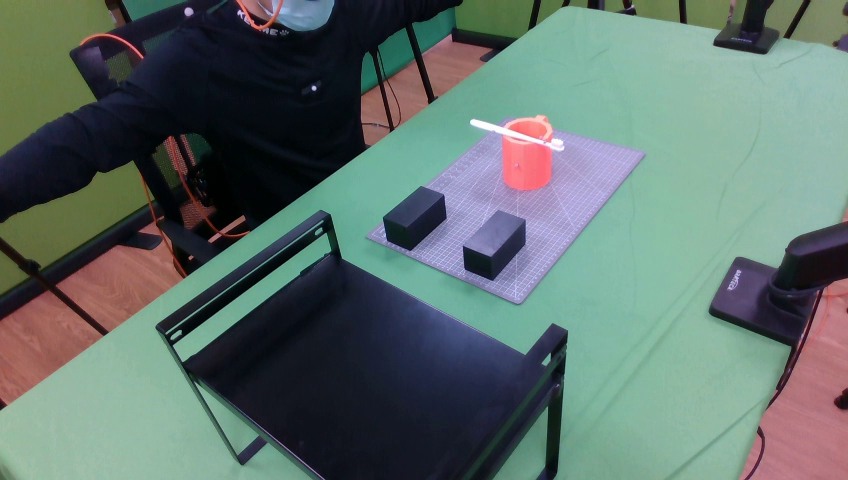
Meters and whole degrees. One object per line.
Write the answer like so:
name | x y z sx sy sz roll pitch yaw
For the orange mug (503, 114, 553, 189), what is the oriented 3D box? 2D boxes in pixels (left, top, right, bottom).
orange mug | 0.190 -0.165 1.071 0.083 0.101 0.126 16 50 25

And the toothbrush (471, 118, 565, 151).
toothbrush | 0.154 -0.181 1.015 0.180 0.017 0.014 23 61 30
